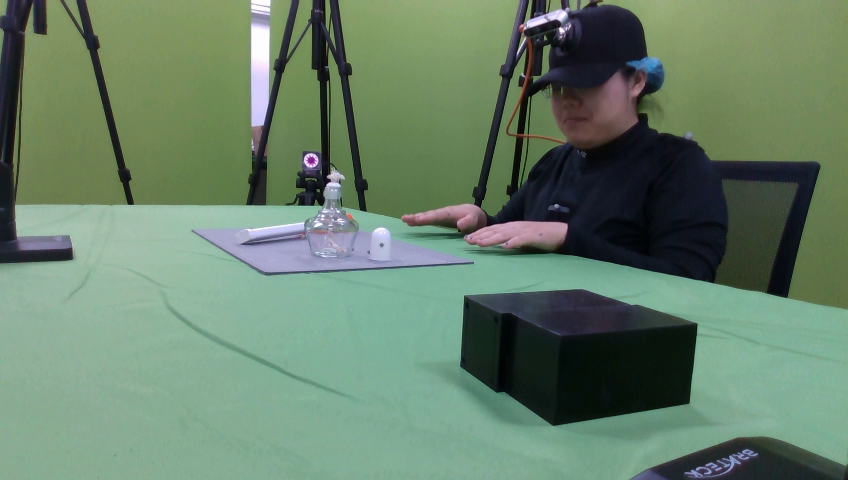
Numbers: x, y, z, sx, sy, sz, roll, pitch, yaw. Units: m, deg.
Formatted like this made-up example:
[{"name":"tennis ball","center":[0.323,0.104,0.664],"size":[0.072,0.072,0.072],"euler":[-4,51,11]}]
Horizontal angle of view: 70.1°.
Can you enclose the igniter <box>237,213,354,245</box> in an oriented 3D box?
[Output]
[{"name":"igniter","center":[-0.206,-0.021,1.034],"size":[0.057,0.025,0.278],"euler":[-19,-2,30]}]

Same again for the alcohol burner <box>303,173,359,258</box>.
[{"name":"alcohol burner","center":[-0.130,-0.035,0.850],"size":[0.078,0.119,0.078],"euler":[2,5,0]}]

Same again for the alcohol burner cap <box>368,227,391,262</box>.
[{"name":"alcohol burner cap","center":[-0.060,0.006,0.837],"size":[0.034,0.048,0.034],"euler":[3,7,0]}]
